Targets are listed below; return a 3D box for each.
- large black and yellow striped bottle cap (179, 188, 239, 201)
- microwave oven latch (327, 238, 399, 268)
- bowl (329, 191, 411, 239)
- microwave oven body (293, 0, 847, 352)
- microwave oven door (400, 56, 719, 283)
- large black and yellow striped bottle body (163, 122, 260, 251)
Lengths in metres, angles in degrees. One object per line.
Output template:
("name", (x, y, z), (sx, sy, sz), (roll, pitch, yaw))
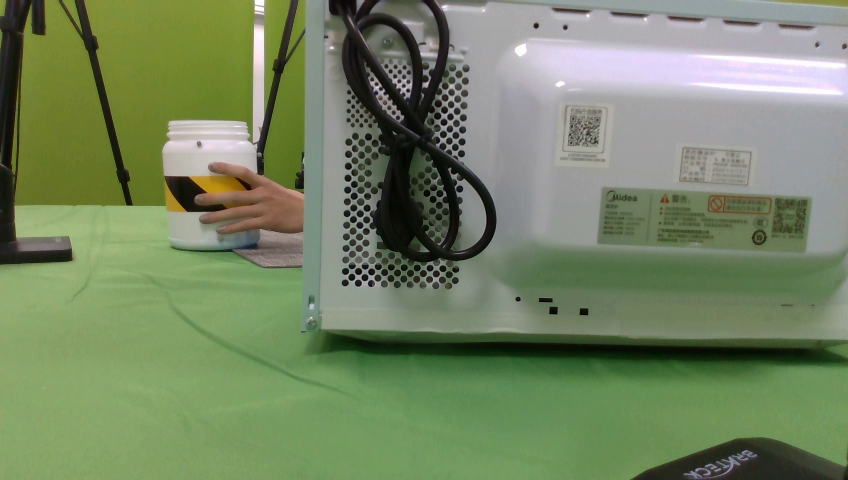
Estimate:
("large black and yellow striped bottle cap", (-0.434, -0.093, 1.226), (0.115, 0.019, 0.115), (3, 9, 0))
("microwave oven latch", (-0.069, 0.015, 0.694), (0.079, 0.029, 0.030), (3, 7, -3))
("bowl", (-0.099, -0.046, 1.104), (0.151, 0.077, 0.151), (3, 8, 0))
("microwave oven body", (0.122, -0.055, 0.550), (0.442, 0.260, 0.325), (3, 7, -5))
("microwave oven door", (0.155, -0.077, 0.698), (0.356, 0.243, 0.039), (2, 8, -5))
("large black and yellow striped bottle body", (-0.318, -0.083, 0.907), (0.131, 0.184, 0.130), (0, 9, 0))
